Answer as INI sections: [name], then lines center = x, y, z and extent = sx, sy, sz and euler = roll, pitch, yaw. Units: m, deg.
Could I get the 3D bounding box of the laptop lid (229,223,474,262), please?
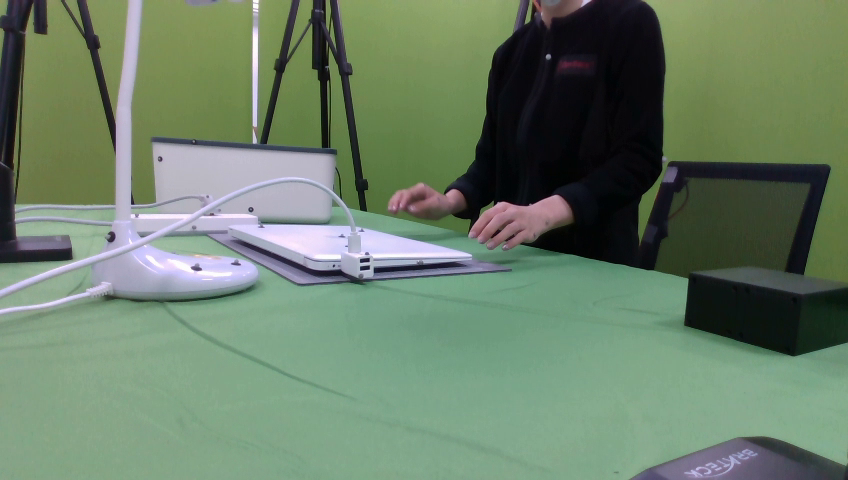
[laptop lid]
center = -0.121, 0.000, 0.888
extent = 0.243, 0.013, 0.355
euler = 1, 7, -33

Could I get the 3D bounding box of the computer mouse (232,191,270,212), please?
[computer mouse]
center = -0.382, -0.086, 1.343
extent = 0.063, 0.041, 0.117
euler = 9, 10, -4

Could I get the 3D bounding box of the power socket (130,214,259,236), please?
[power socket]
center = -0.397, -0.028, 1.048
extent = 0.228, 0.032, 0.072
euler = -3, 7, -35

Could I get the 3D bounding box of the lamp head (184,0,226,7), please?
[lamp head]
center = -0.229, -0.320, 0.627
extent = 0.112, 0.112, 0.123
euler = 6, -35, 26

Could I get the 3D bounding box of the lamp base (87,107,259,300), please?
[lamp base]
center = -0.254, -0.039, 0.603
extent = 0.160, 0.180, 0.179
euler = 5, 10, 18

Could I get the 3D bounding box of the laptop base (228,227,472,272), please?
[laptop base]
center = -0.124, 0.011, 0.889
extent = 0.237, 0.023, 0.352
euler = 2, 6, -35

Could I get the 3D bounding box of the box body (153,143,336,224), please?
[box body]
center = -0.380, -0.130, 1.344
extent = 0.365, 0.160, 0.253
euler = 1, 7, -9

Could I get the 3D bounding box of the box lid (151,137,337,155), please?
[box lid]
center = -0.379, -0.204, 1.334
extent = 0.372, 0.015, 0.262
euler = 2, 7, -9

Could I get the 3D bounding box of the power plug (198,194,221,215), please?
[power plug]
center = -0.386, -0.055, 1.088
extent = 0.035, 0.052, 0.072
euler = -2, 7, -24

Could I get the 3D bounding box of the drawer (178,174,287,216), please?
[drawer]
center = -0.414, -0.104, 1.342
extent = 0.212, 0.073, 0.194
euler = 5, 7, -11

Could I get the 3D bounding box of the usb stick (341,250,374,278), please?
[usb stick]
center = -0.078, 0.026, 0.686
extent = 0.021, 0.027, 0.059
euler = -8, 8, -30
